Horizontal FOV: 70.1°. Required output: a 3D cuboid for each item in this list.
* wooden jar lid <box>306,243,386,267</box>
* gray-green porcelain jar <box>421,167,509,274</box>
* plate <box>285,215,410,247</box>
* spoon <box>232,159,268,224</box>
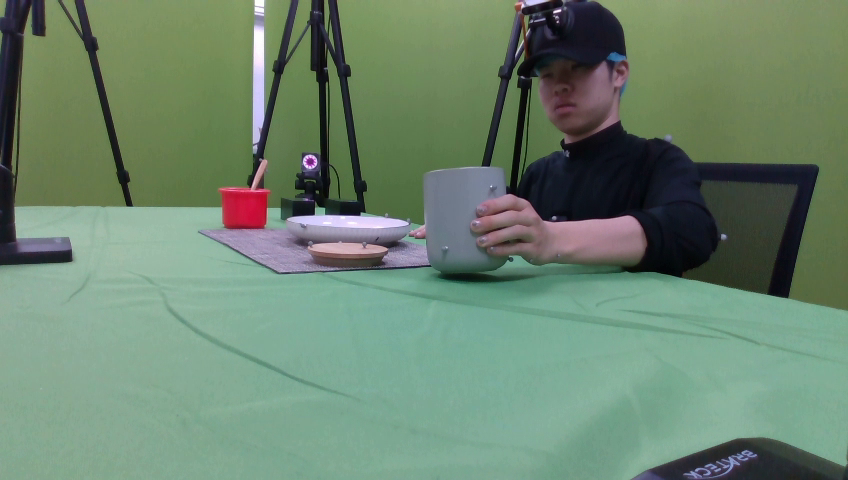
[{"bbox_3d":[-0.105,0.020,0.816,0.108,0.020,0.108,1,7,0],"label":"wooden jar lid"},{"bbox_3d":[0.052,-0.023,0.760,0.106,0.126,0.106,-4,0,0],"label":"gray-green porcelain jar"},{"bbox_3d":[-0.127,-0.015,1.012,0.208,0.039,0.207,3,7,0],"label":"plate"},{"bbox_3d":[-0.342,-0.101,1.218,0.041,0.021,0.193,4,51,3],"label":"spoon"}]
